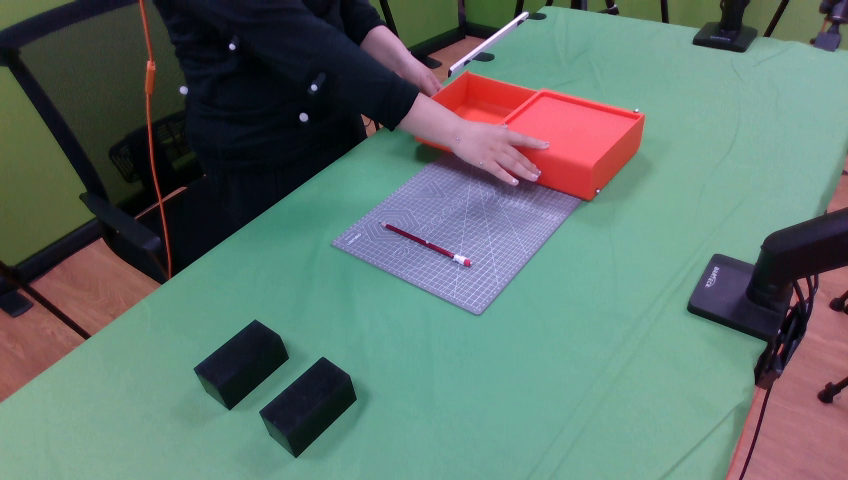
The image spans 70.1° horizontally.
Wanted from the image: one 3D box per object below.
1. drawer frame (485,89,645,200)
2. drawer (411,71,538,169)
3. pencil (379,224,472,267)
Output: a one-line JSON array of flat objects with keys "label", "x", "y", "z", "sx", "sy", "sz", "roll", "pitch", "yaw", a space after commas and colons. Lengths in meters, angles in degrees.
[{"label": "drawer frame", "x": 0.253, "y": -0.180, "z": 1.095, "sx": 0.212, "sy": 0.083, "sz": 0.202, "roll": 24, "pitch": 48, "yaw": 31}, {"label": "drawer", "x": 0.116, "y": -0.239, "z": 1.183, "sx": 0.210, "sy": 0.073, "sz": 0.195, "roll": 25, "pitch": 49, "yaw": 29}, {"label": "pencil", "x": -0.002, "y": 0.005, "z": 0.970, "sx": 0.192, "sy": 0.012, "sz": 0.012, "roll": 24, "pitch": 49, "yaw": 33}]
